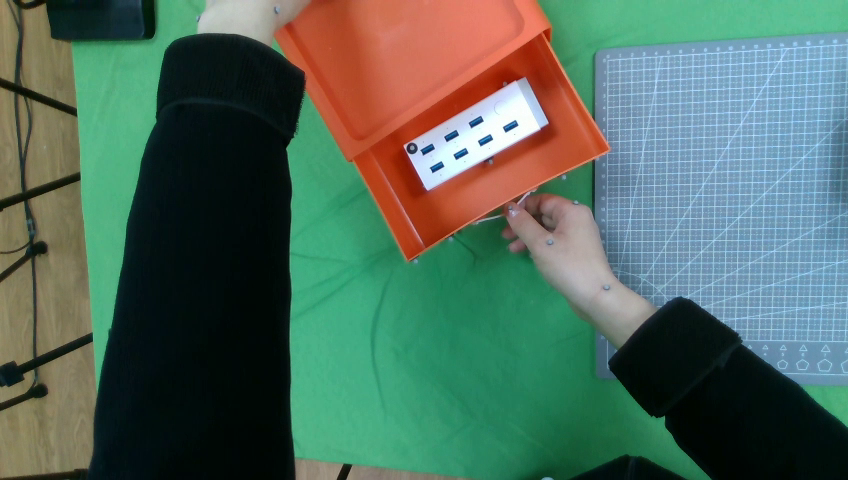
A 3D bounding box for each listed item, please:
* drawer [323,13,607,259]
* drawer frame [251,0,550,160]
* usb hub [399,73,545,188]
[{"bbox_3d":[0.020,-0.120,0.527,0.194,0.073,0.212,-28,92,14],"label":"drawer"},{"bbox_3d":[-0.032,-0.209,0.521,0.201,0.083,0.213,-31,91,14],"label":"drawer frame"},{"bbox_3d":[0.043,-0.098,0.546,0.125,0.025,0.049,-28,90,13],"label":"usb hub"}]
